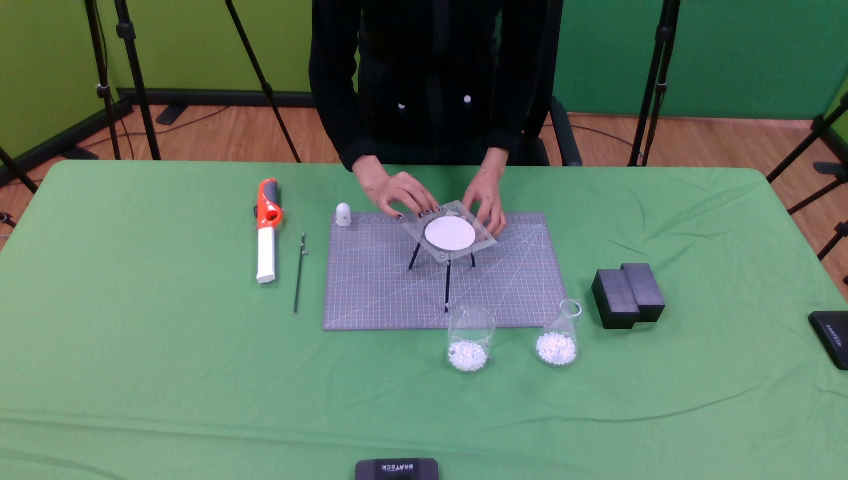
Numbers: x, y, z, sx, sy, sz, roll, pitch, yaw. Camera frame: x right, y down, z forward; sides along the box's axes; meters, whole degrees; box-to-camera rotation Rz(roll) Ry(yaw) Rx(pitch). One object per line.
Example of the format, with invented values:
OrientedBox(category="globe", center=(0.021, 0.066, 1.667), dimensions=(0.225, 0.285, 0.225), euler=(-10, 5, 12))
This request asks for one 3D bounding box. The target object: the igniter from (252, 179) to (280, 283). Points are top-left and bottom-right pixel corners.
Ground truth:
OrientedBox(category="igniter", center=(-0.312, -0.027, 1.197), dimensions=(0.057, 0.025, 0.274), euler=(-12, 47, -1))

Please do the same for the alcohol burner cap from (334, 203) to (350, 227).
OrientedBox(category="alcohol burner cap", center=(-0.166, -0.053, 1.220), dimensions=(0.034, 0.048, 0.033), euler=(2, 46, -2))

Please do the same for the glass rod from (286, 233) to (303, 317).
OrientedBox(category="glass rod", center=(-0.241, 0.061, 1.135), dimensions=(0.008, 0.008, 0.198), euler=(1, 48, -2))

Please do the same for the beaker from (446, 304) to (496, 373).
OrientedBox(category="beaker", center=(0.072, 0.166, 0.992), dimensions=(0.084, 0.101, 0.073), euler=(-21, 51, -22))

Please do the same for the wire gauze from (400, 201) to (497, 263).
OrientedBox(category="wire gauze", center=(0.042, -0.014, 1.042), dimensions=(0.125, 0.011, 0.120), euler=(-22, 49, -25))

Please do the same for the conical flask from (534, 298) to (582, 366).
OrientedBox(category="conical flask", center=(0.229, 0.149, 1.005), dimensions=(0.075, 0.122, 0.075), euler=(2, 46, -2))

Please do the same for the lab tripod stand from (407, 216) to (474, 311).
OrientedBox(category="lab tripod stand", center=(0.039, 0.030, 1.092), dimensions=(0.148, 0.132, 0.147), euler=(2, 44, -2))

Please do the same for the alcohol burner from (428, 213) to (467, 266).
OrientedBox(category="alcohol burner", center=(0.047, -0.007, 1.143), dimensions=(0.078, 0.120, 0.077), euler=(1, 48, -1))
